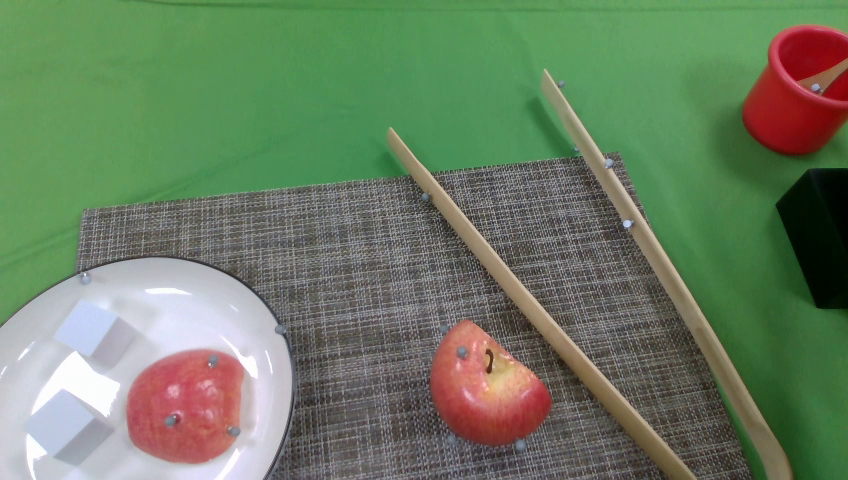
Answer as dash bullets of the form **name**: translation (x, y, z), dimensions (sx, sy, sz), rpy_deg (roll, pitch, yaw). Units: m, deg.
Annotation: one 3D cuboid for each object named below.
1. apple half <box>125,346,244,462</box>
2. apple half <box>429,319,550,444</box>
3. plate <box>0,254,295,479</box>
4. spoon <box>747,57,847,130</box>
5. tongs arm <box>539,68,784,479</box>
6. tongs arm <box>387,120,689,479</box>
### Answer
- **apple half**: translation (-0.156, 0.100, 0.388), dimensions (0.081, 0.033, 0.080), rpy_deg (3, 59, -5)
- **apple half**: translation (0.033, 0.098, 0.386), dimensions (0.080, 0.075, 0.053), rpy_deg (41, 69, 15)
- **plate**: translation (-0.186, 0.107, 0.388), dimensions (0.209, 0.038, 0.207), rpy_deg (2, 59, -2)
- **spoon**: translation (0.374, -0.156, 0.517), dimensions (0.194, 0.022, 0.041), rpy_deg (-35, 54, 28)
- **tongs arm**: translation (0.158, 0.012, 0.468), dimensions (0.051, 0.027, 0.381), rpy_deg (-17, 63, -14)
- **tongs arm**: translation (0.083, 0.043, 0.446), dimensions (0.028, 0.028, 0.384), rpy_deg (-29, 66, -24)
